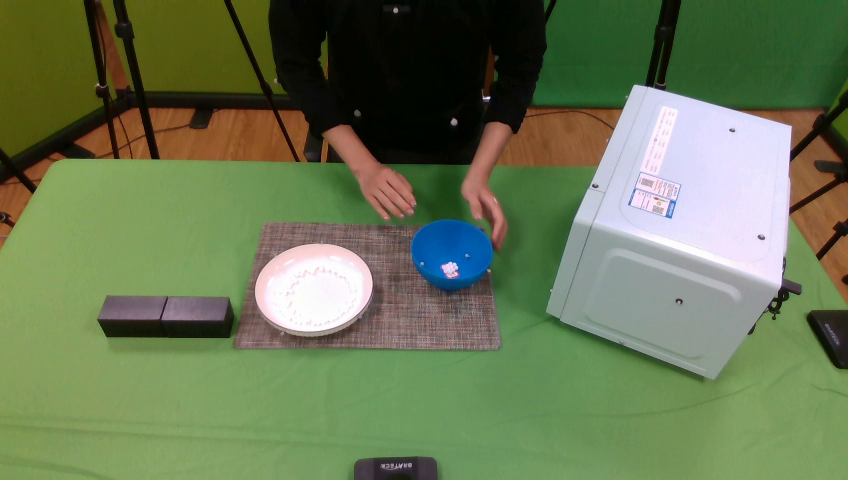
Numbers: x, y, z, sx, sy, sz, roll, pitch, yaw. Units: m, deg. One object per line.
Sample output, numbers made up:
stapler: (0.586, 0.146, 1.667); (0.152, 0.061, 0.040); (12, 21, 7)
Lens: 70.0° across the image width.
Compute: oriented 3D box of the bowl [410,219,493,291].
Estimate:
bowl: (0.048, 0.041, 1.117); (0.151, 0.077, 0.150); (2, 46, -2)

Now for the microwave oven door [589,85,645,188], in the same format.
microwave oven door: (0.342, -0.107, 1.149); (0.039, 0.245, 0.354); (21, 48, 15)

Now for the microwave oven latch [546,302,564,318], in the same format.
microwave oven latch: (0.242, 0.102, 1.081); (0.030, 0.029, 0.079); (22, 48, 17)

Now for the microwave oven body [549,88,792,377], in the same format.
microwave oven body: (0.456, -0.028, 1.088); (0.325, 0.261, 0.440); (20, 47, 16)

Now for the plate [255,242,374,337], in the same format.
plate: (-0.192, 0.090, 1.079); (0.208, 0.039, 0.206); (2, 46, -2)
